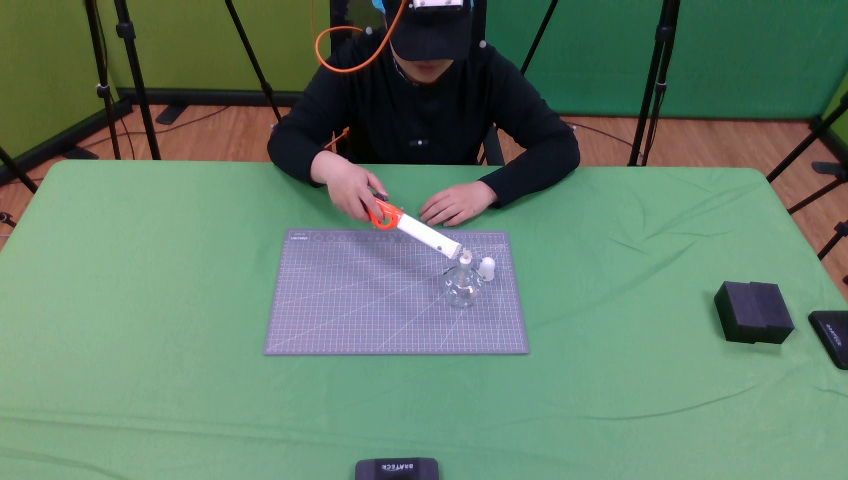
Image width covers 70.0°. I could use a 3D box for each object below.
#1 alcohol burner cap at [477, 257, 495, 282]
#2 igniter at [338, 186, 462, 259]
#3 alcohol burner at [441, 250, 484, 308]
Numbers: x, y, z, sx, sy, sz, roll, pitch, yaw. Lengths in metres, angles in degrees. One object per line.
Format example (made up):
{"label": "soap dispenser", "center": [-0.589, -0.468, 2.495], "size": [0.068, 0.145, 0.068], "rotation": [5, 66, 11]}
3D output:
{"label": "alcohol burner cap", "center": [0.118, 0.053, 1.140], "size": [0.034, 0.048, 0.033], "rotation": [2, 45, -2]}
{"label": "igniter", "center": [-0.051, -0.037, 1.107], "size": [0.275, 0.057, 0.025], "rotation": [28, 7, 27]}
{"label": "alcohol burner", "center": [0.069, 0.064, 1.075], "size": [0.078, 0.120, 0.077], "rotation": [1, 45, -1]}
